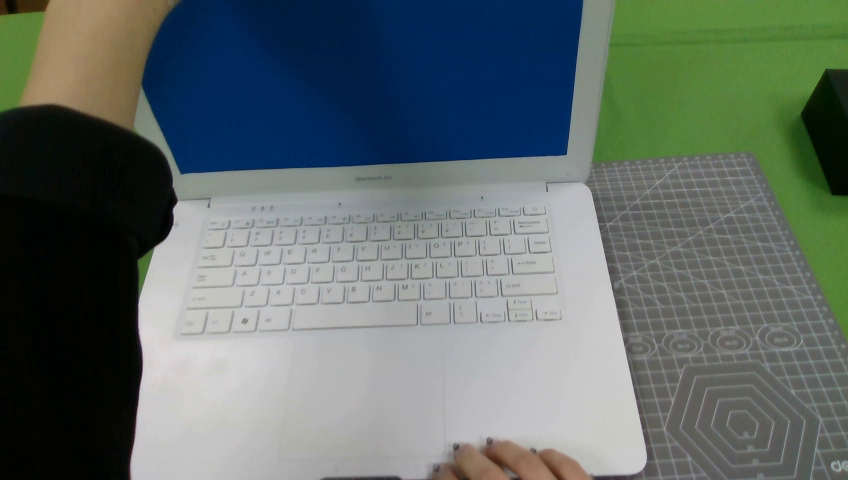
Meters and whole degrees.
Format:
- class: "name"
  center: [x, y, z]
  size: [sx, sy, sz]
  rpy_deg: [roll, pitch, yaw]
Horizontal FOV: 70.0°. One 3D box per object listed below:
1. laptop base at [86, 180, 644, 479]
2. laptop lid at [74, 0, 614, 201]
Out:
- class: "laptop base"
  center: [-0.041, 0.058, 0.444]
  size: [0.354, 0.023, 0.233]
  rpy_deg: [-3, 57, 3]
- class: "laptop lid"
  center: [-0.049, -0.123, 0.430]
  size: [0.356, 0.244, 0.013]
  rpy_deg: [-4, 44, 4]
